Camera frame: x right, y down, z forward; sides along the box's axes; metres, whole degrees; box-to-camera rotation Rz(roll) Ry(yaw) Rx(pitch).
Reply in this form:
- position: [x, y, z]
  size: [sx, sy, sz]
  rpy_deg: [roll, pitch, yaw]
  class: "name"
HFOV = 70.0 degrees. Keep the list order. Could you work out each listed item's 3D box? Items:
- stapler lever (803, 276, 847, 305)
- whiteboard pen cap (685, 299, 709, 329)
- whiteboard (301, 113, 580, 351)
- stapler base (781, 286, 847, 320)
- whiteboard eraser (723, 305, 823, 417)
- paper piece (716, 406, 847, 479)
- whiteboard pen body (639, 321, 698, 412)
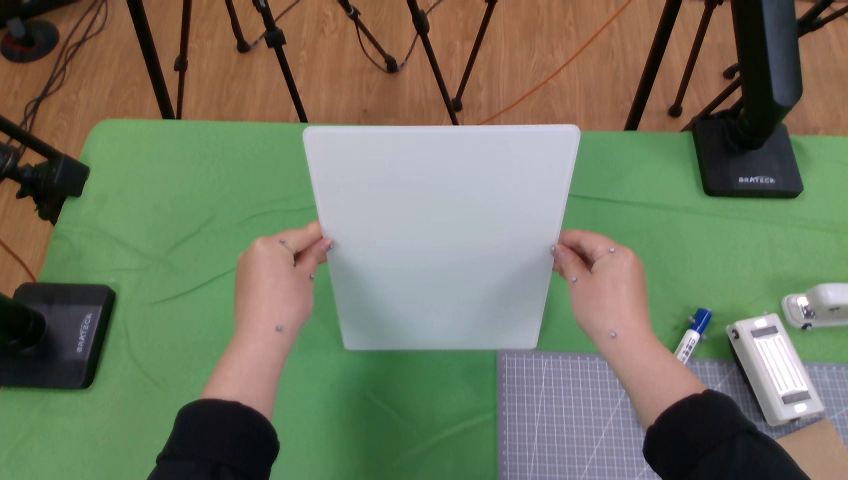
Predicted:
- position: [0.480, 0.055, 0.669]
  size: [0.118, 0.040, 0.026]
  rpy_deg: [-3, 67, -2]
  class: "stapler lever"
- position: [0.308, 0.084, 0.682]
  size: [0.018, 0.018, 0.033]
  rpy_deg: [31, 66, 15]
  class: "whiteboard pen cap"
- position: [0.017, -0.034, 0.616]
  size: [0.217, 0.308, 0.142]
  rpy_deg: [0, 46, 1]
  class: "whiteboard"
- position: [0.478, 0.066, 0.690]
  size: [0.131, 0.024, 0.041]
  rpy_deg: [-3, 68, -3]
  class: "stapler base"
- position: [0.369, 0.129, 0.647]
  size: [0.055, 0.042, 0.111]
  rpy_deg: [-13, 65, -4]
  class: "whiteboard eraser"
- position: [0.386, 0.257, 0.606]
  size: [0.136, 0.009, 0.137]
  rpy_deg: [-20, 68, -4]
  class: "paper piece"
- position: [0.273, 0.127, 0.663]
  size: [0.017, 0.017, 0.140]
  rpy_deg: [33, 69, 15]
  class: "whiteboard pen body"
